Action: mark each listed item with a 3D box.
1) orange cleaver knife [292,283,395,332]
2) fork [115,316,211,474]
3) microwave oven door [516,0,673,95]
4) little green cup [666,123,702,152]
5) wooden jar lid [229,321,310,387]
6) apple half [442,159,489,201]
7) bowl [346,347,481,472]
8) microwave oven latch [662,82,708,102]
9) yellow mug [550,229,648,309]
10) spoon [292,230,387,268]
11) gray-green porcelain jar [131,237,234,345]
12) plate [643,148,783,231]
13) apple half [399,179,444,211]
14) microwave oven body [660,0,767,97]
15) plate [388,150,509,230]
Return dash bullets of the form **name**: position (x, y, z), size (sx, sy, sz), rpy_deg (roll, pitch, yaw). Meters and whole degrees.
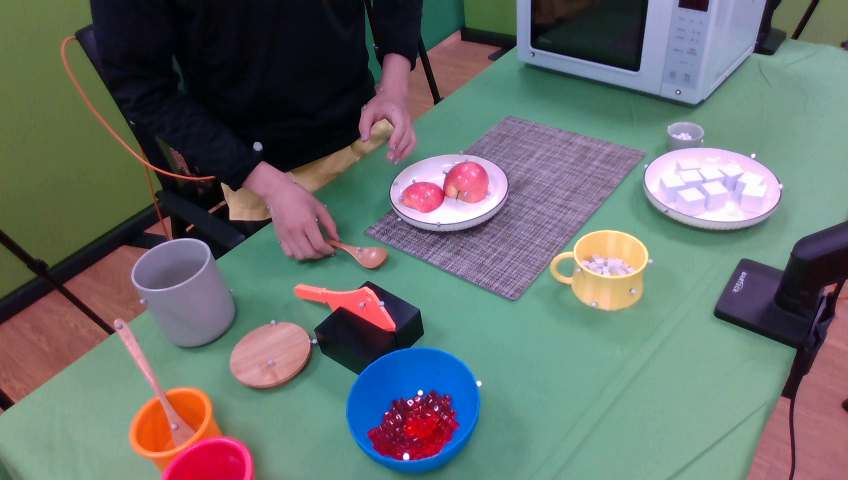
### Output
- **orange cleaver knife**: position (-0.115, 0.092, 0.835), size (0.209, 0.077, 0.012), rpy_deg (1, 32, 48)
- **fork**: position (-0.308, 0.179, 0.708), size (0.028, 0.018, 0.207), rpy_deg (-30, 89, -18)
- **microwave oven door**: position (0.344, -0.458, 1.256), size (0.353, 0.245, 0.039), rpy_deg (26, 51, 33)
- **little green cup**: position (0.472, -0.183, 1.103), size (0.061, 0.039, 0.061), rpy_deg (-5, 41, 5)
- **wooden jar lid**: position (-0.207, 0.156, 0.820), size (0.108, 0.021, 0.108), rpy_deg (-3, 39, 3)
- **apple half**: position (0.074, -0.110, 1.047), size (0.080, 0.053, 0.075), rpy_deg (22, 46, 30)
- **bowl**: position (-0.008, 0.205, 0.691), size (0.151, 0.077, 0.150), rpy_deg (-4, 40, 4)
- **microwave oven latch**: position (0.517, -0.298, 1.203), size (0.078, 0.029, 0.030), rpy_deg (28, 53, 35)
- **yellow mug**: position (0.245, 0.040, 0.856), size (0.130, 0.064, 0.099), rpy_deg (1, 41, 11)
- **spoon**: position (-0.141, 0.007, 0.982), size (0.192, 0.022, 0.041), rpy_deg (17, 69, 25)
- **gray-green porcelain jar**: position (-0.332, 0.076, 0.849), size (0.106, 0.127, 0.105), rpy_deg (-4, 41, 4)
- **plate**: position (0.464, -0.079, 0.986), size (0.207, 0.039, 0.206), rpy_deg (-4, 40, 4)
- **apple half**: position (-0.004, -0.088, 1.045), size (0.081, 0.033, 0.081), rpy_deg (-2, 43, 2)
- **microwave oven body**: position (0.473, -0.517, 1.314), size (0.438, 0.261, 0.327), rpy_deg (26, 51, 34)
- **plate**: position (0.044, -0.083, 1.042), size (0.209, 0.038, 0.208), rpy_deg (-4, 40, 4)
